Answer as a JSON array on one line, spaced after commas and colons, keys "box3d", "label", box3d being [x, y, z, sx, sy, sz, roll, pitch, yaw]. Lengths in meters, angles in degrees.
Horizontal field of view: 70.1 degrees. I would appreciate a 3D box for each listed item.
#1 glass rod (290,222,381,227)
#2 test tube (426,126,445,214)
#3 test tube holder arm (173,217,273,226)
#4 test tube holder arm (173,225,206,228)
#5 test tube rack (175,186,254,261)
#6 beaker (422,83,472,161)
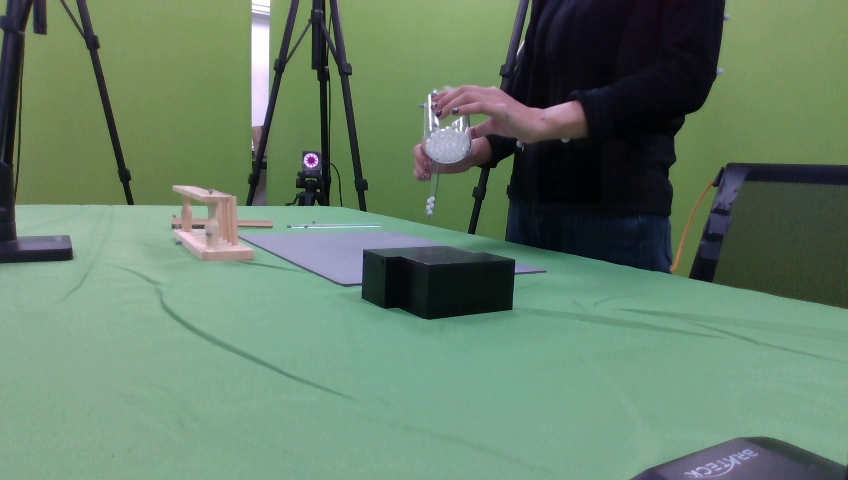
[{"box3d": [-0.178, -0.033, 1.247, 0.201, 0.008, 0.008, -2, 8, -30], "label": "glass rod"}, {"box3d": [0.018, -0.113, 0.989, 0.017, 0.150, 0.017, 6, 25, -2], "label": "test tube"}, {"box3d": [-0.371, -0.033, 1.128, 0.179, 0.015, 0.013, -1, -22, -26], "label": "test tube holder arm"}, {"box3d": [-0.415, -0.030, 1.113, 0.088, 0.015, 0.010, -1, -21, -25], "label": "test tube holder arm"}, {"box3d": [-0.314, -0.031, 0.889, 0.067, 0.085, 0.241, -2, 8, -30], "label": "test tube rack"}, {"box3d": [0.034, -0.171, 0.900, 0.074, 0.084, 0.100, 6, 48, -8], "label": "beaker"}]
